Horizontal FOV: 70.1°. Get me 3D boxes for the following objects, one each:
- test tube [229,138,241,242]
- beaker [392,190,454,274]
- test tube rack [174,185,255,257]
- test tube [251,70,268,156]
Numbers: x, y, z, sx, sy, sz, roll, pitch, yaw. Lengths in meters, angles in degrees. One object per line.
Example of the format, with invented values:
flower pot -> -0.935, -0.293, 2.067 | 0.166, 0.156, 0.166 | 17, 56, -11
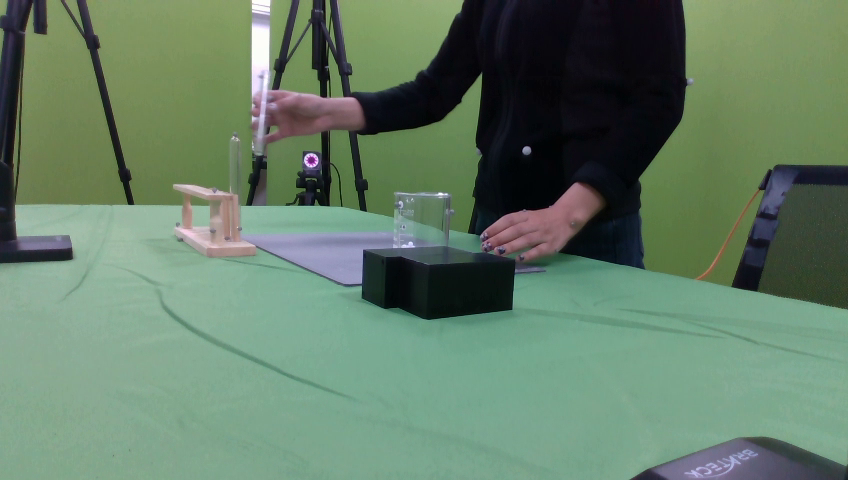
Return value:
test tube -> -0.270, -0.071, 0.866 | 0.017, 0.150, 0.017 | 2, 8, 0
beaker -> -0.005, -0.011, 0.760 | 0.074, 0.100, 0.083 | -2, 8, -32
test tube rack -> -0.324, -0.035, 0.922 | 0.067, 0.085, 0.241 | -2, 9, -32
test tube -> -0.268, -0.208, 0.987 | 0.017, 0.150, 0.017 | 1, -14, 1
